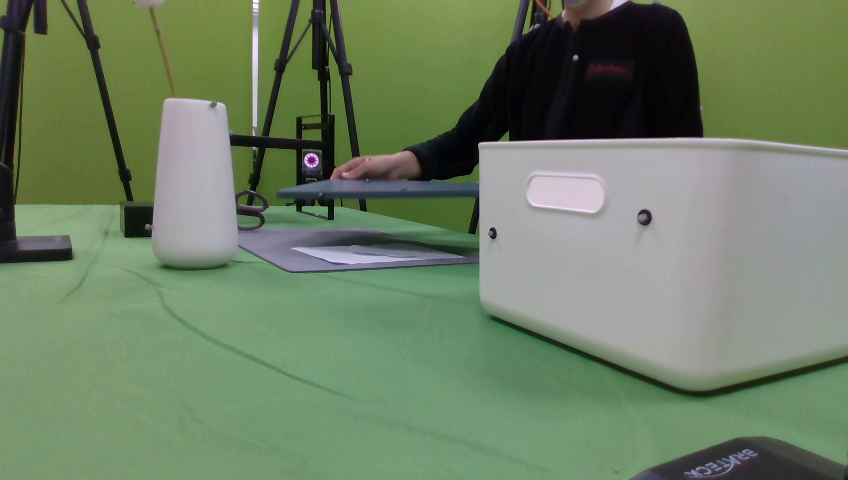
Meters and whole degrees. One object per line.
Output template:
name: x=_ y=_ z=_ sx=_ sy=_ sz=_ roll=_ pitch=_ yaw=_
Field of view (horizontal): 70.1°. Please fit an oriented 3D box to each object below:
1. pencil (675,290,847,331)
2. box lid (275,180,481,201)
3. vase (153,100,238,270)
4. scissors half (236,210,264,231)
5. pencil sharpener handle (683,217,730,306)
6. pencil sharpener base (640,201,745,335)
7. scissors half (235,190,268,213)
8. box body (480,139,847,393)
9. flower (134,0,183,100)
pencil: x=0.331 y=0.066 z=0.608 sx=0.012 sy=0.012 sz=0.193 roll=-1 pitch=6 yaw=-26
box lid: x=-0.026 y=-0.082 z=0.988 sx=0.371 sy=0.015 sz=0.264 roll=2 pitch=9 yaw=16
vase: x=-0.278 y=-0.066 z=0.736 sx=0.098 sy=0.200 sz=0.098 roll=2 pitch=9 yaw=0
scissors half: x=-0.369 y=-0.051 z=1.064 sx=0.176 sy=0.040 sz=0.012 roll=19 pitch=13 yaw=-27
pencil sharpener handle: x=0.224 y=0.017 z=0.476 sx=0.036 sy=0.067 sz=0.030 roll=8 pitch=9 yaw=6
pencil sharpener base: x=0.232 y=0.022 z=0.528 sx=0.061 sy=0.107 sz=0.077 roll=4 pitch=8 yaw=7
scissors half: x=-0.363 y=-0.070 z=1.060 sx=0.176 sy=0.040 sz=0.013 roll=0 pitch=16 yaw=-23
box body: x=0.255 y=0.001 z=0.541 sx=0.366 sy=0.160 sz=0.253 roll=-2 pitch=9 yaw=-31
flower: x=-0.282 y=-0.147 z=0.713 sx=0.038 sy=0.362 sz=0.044 roll=-23 pitch=24 yaw=-31
